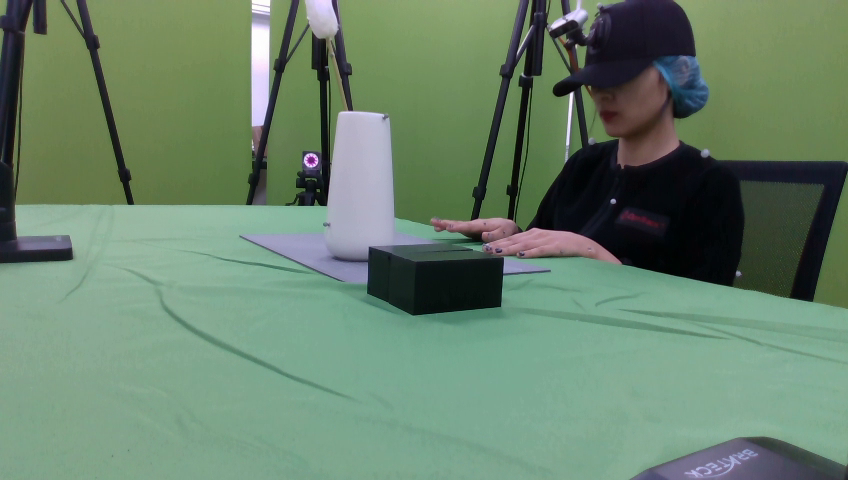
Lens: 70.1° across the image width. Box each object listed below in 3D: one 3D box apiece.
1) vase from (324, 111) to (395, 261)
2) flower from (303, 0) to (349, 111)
[{"bbox_3d":[-0.087,-0.074,0.829,0.098,0.200,0.098,2,9,0],"label":"vase"},{"bbox_3d":[-0.099,-0.157,0.825,0.038,0.361,0.044,-15,5,-1],"label":"flower"}]
